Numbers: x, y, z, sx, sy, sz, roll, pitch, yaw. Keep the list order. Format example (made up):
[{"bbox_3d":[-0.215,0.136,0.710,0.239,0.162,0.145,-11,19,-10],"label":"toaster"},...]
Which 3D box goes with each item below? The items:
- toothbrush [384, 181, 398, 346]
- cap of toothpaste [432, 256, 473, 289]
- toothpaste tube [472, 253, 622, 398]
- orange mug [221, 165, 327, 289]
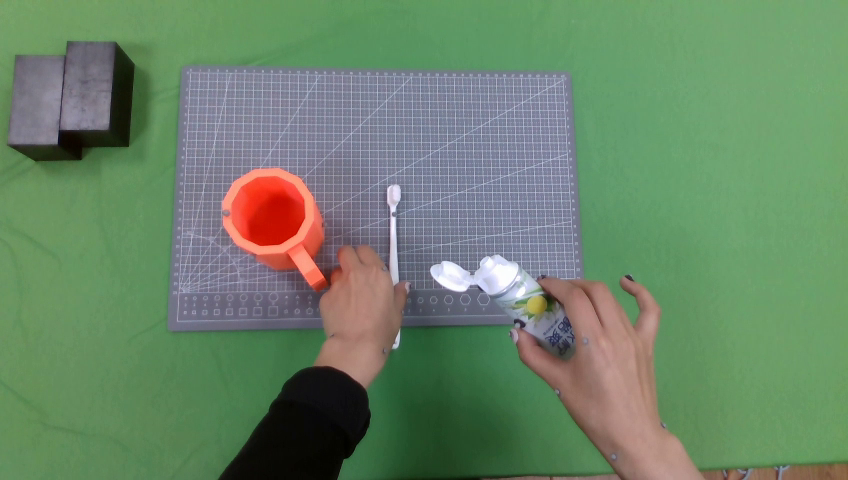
[{"bbox_3d":[-0.035,0.023,0.660,0.014,0.016,0.181,4,80,-29],"label":"toothbrush"},{"bbox_3d":[0.024,0.025,0.490,0.037,0.037,0.011,29,118,1],"label":"cap of toothpaste"},{"bbox_3d":[0.101,0.069,0.510,0.166,0.034,0.055,42,91,-18],"label":"toothpaste tube"},{"bbox_3d":[-0.142,-0.008,0.616,0.083,0.101,0.125,-35,79,-9],"label":"orange mug"}]
